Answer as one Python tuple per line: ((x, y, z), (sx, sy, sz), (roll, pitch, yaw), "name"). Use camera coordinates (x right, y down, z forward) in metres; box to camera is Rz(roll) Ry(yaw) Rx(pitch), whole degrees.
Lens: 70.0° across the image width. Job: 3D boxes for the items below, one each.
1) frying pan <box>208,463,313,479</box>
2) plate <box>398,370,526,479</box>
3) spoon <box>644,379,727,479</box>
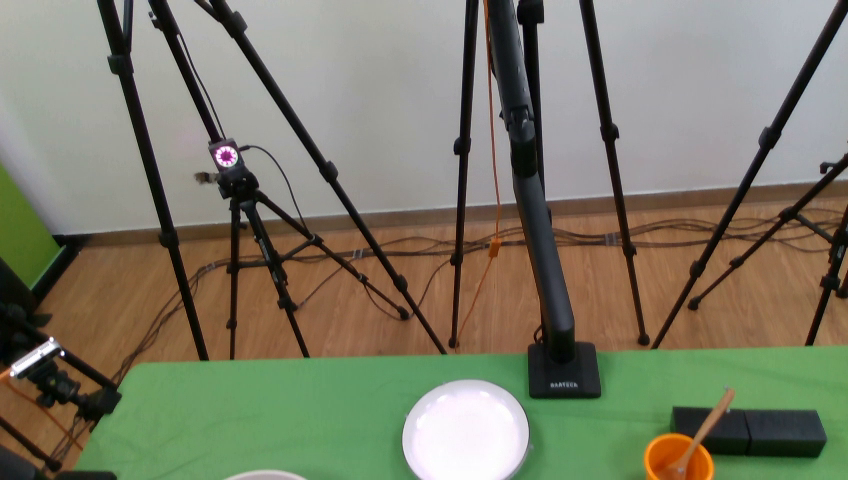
((-0.267, 0.521, 0.770), (0.306, 0.103, 0.484), (-4, 33, 10), "frying pan")
((0.063, 0.307, 0.987), (0.207, 0.039, 0.205), (-7, 41, 6), "plate")
((0.374, 0.278, 0.859), (0.022, 0.194, 0.041), (16, 17, -41), "spoon")
